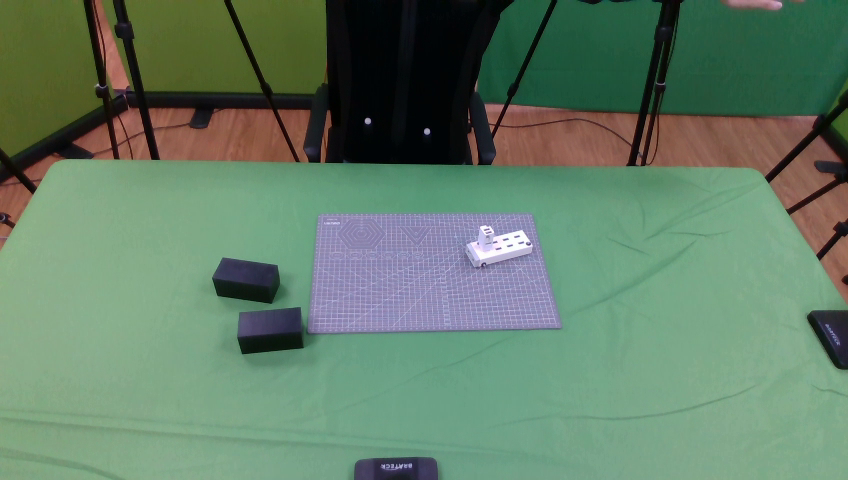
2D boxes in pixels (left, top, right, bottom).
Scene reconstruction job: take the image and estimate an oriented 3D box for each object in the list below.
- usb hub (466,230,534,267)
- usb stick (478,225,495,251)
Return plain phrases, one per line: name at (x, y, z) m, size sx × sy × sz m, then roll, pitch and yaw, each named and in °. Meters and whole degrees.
usb hub at (0.148, 0.017, 1.185) m, size 0.125 × 0.025 × 0.049 m, roll -14°, pitch 49°, yaw -16°
usb stick at (0.118, 0.001, 1.158) m, size 0.021 × 0.059 × 0.027 m, roll -15°, pitch 50°, yaw -19°
